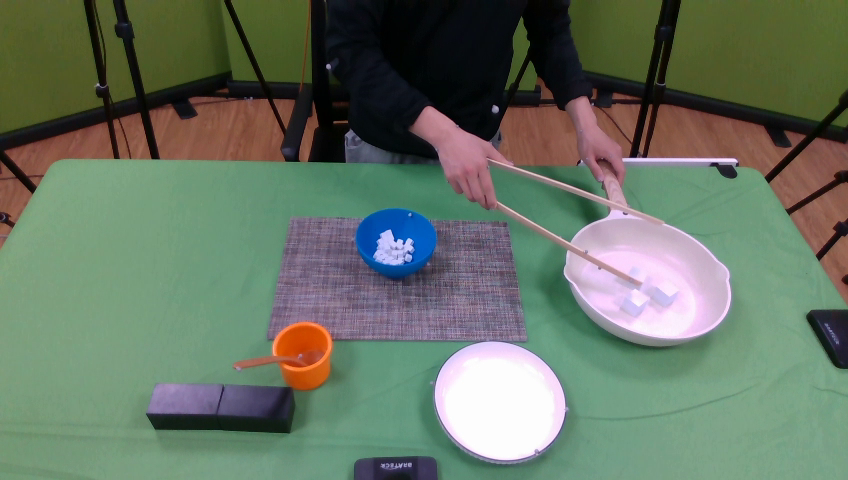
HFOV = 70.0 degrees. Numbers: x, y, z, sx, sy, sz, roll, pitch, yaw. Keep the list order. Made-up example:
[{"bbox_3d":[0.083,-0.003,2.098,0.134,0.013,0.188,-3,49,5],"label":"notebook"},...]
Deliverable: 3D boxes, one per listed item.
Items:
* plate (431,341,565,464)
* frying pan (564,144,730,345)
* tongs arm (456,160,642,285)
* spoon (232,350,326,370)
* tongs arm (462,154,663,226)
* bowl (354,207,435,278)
[{"bbox_3d":[0.114,0.255,0.951,0.208,0.039,0.206,3,46,-2],"label":"plate"},{"bbox_3d":[0.396,-0.008,1.179,0.307,0.103,0.484,0,55,-5],"label":"frying pan"},{"bbox_3d":[0.224,-0.030,1.086,0.385,0.026,0.050,27,78,-2],"label":"tongs arm"},{"bbox_3d":[-0.216,0.182,0.919,0.041,0.194,0.021,44,102,27],"label":"spoon"},{"bbox_3d":[0.252,-0.089,1.101,0.388,0.028,0.028,19,82,-4],"label":"tongs arm"},{"bbox_3d":[-0.056,0.018,1.132,0.151,0.077,0.150,2,46,-2],"label":"bowl"}]
